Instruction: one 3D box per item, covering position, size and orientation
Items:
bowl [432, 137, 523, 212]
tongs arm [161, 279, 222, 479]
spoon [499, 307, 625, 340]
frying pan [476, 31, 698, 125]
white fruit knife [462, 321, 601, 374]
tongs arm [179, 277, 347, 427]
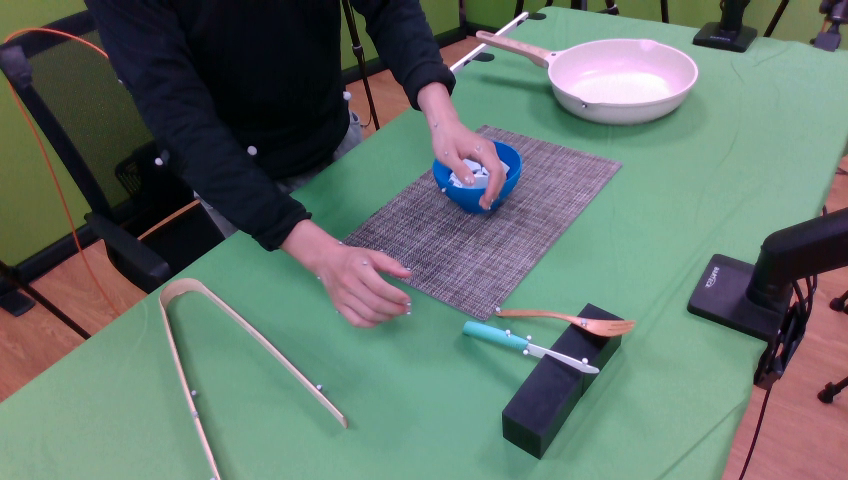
[{"bbox_3d":[0.091,-0.100,1.022,0.151,0.077,0.150,-4,41,4],"label":"bowl"},{"bbox_3d":[-0.297,0.174,0.797,0.051,0.026,0.381,-25,43,-21],"label":"tongs arm"},{"bbox_3d":[0.169,0.102,0.773,0.042,0.021,0.192,-6,11,-38],"label":"spoon"},{"bbox_3d":[0.321,-0.371,1.290,0.484,0.103,0.307,29,51,23],"label":"frying pan"},{"bbox_3d":[0.126,0.132,0.752,0.205,0.027,0.016,12,48,42],"label":"white fruit knife"},{"bbox_3d":[-0.231,0.140,0.832,0.384,0.028,0.028,30,56,35],"label":"tongs arm"}]
